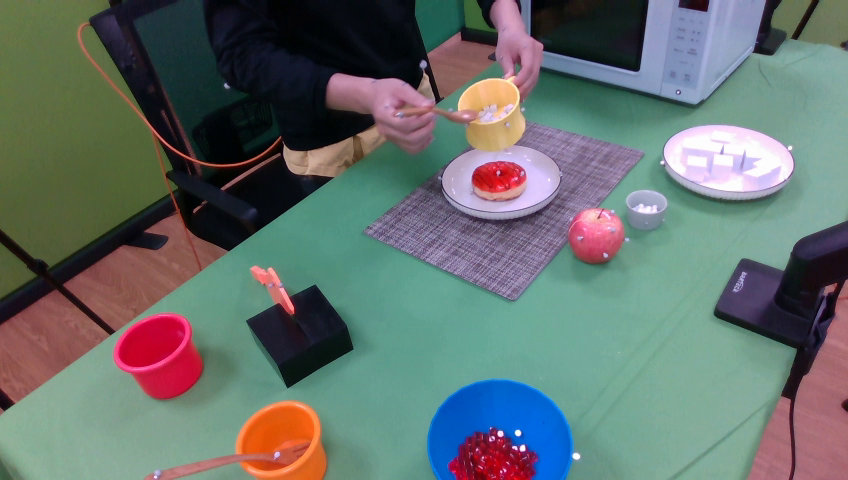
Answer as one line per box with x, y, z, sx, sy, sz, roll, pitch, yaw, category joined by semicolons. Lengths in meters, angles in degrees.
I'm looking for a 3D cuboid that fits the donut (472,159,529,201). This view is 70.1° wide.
0.132;-0.105;1.043;0.099;0.048;0.098;-5;38;5;donut

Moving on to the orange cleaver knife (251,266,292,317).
-0.221;0.071;0.873;0.012;0.077;0.210;-25;11;-21;orange cleaver knife

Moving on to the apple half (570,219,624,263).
0.250;0.009;0.885;0.081;0.081;0.033;7;39;17;apple half

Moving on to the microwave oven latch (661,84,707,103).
0.517;-0.296;1.204;0.078;0.029;0.030;27;52;35;microwave oven latch

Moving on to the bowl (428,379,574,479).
0.082;0.233;0.644;0.151;0.077;0.150;-4;40;4;bowl

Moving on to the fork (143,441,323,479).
-0.189;0.231;0.631;0.028;0.018;0.209;35;13;37;fork

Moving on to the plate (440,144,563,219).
0.134;-0.098;1.052;0.209;0.038;0.208;-4;40;4;plate

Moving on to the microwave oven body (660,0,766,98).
0.472;-0.513;1.317;0.438;0.261;0.327;26;51;34;microwave oven body

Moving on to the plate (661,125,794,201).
0.513;-0.128;1.035;0.207;0.039;0.206;-4;40;4;plate

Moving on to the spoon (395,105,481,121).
0.020;-0.179;0.839;0.041;0.021;0.195;21;18;32;spoon

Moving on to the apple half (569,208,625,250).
0.262;-0.015;0.914;0.080;0.075;0.053;5;38;20;apple half

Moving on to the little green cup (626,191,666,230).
0.352;-0.046;0.963;0.061;0.039;0.061;-4;40;4;little green cup

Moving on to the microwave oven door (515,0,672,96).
0.343;-0.455;1.259;0.353;0.245;0.039;26;51;33;microwave oven door

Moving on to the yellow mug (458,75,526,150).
0.119;-0.214;0.978;0.099;0.064;0.131;28;68;31;yellow mug
